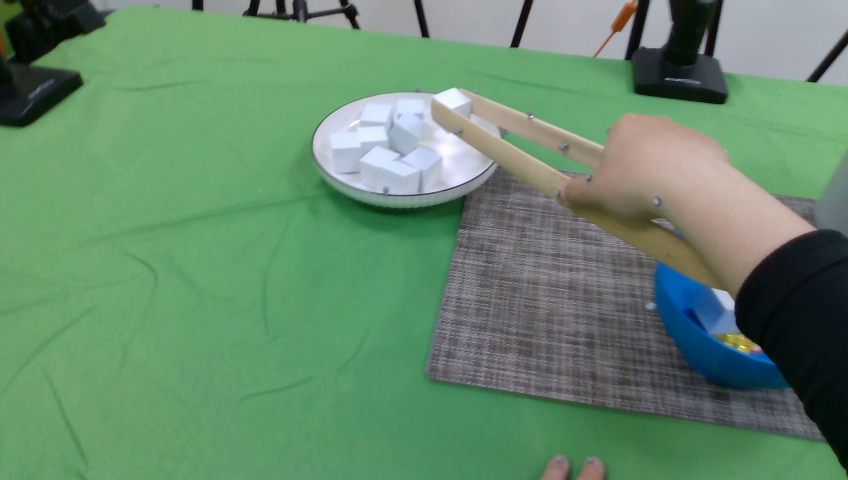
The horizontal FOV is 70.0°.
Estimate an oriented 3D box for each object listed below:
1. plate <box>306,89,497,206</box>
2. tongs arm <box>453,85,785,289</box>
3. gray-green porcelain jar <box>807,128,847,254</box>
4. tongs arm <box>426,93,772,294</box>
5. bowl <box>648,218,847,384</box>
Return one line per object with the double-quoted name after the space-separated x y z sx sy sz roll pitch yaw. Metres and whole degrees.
-0.024 -0.101 0.667 0.209 0.038 0.207 0 42 0 "plate"
0.121 -0.068 0.507 0.051 0.027 0.380 -24 37 -25 "tongs arm"
0.430 -0.052 0.560 0.106 0.127 0.105 1 43 0 "gray-green porcelain jar"
0.100 -0.060 0.498 0.028 0.028 0.383 -19 35 -23 "tongs arm"
0.243 0.058 0.470 0.151 0.077 0.150 1 43 -1 "bowl"
